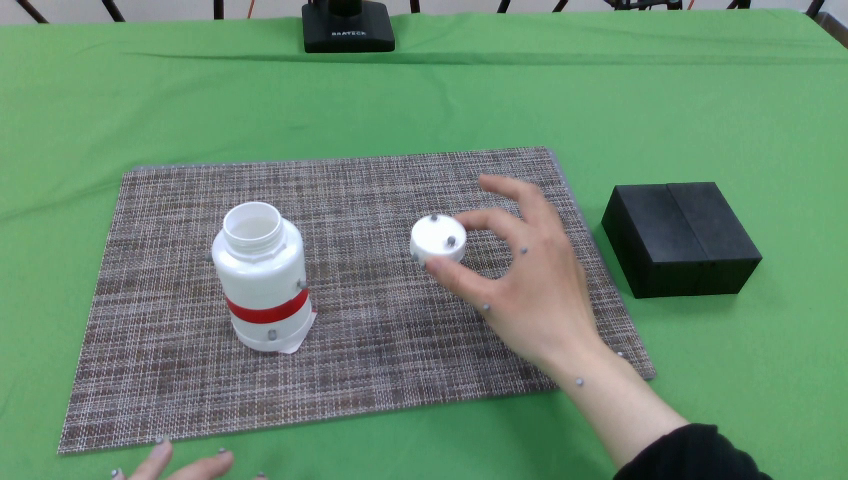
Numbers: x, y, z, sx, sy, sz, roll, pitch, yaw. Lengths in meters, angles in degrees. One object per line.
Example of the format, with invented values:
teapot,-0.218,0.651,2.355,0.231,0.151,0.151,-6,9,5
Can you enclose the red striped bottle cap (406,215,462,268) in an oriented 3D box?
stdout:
red striped bottle cap,0.008,0.000,0.474,0.044,0.018,0.044,5,45,-5

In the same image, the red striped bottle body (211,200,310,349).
red striped bottle body,-0.122,0.026,0.458,0.063,0.120,0.062,3,48,-3
